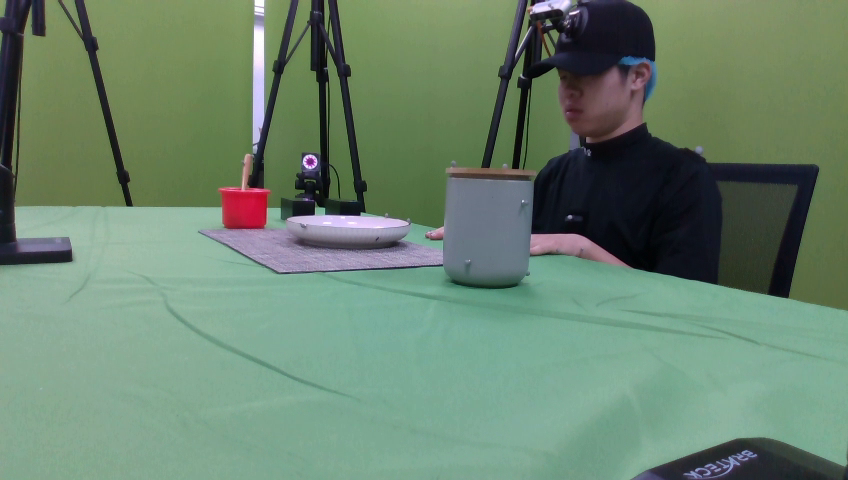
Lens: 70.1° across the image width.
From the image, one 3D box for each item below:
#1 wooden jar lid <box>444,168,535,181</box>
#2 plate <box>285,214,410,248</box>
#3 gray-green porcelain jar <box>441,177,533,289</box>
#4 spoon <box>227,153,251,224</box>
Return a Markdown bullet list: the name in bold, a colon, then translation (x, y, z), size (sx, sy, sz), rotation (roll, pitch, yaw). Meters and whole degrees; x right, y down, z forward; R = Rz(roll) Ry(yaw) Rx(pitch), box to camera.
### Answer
- **wooden jar lid**: translation (0.077, -0.074, 0.718), size (0.108, 0.020, 0.108), rotation (1, 5, 0)
- **plate**: translation (-0.127, -0.015, 1.012), size (0.208, 0.039, 0.207), rotation (3, 7, 0)
- **gray-green porcelain jar**: translation (0.075, -0.010, 0.727), size (0.106, 0.126, 0.106), rotation (2, 7, 0)
- **spoon**: translation (-0.363, -0.107, 1.211), size (0.042, 0.021, 0.193), rotation (-1, 47, -7)
